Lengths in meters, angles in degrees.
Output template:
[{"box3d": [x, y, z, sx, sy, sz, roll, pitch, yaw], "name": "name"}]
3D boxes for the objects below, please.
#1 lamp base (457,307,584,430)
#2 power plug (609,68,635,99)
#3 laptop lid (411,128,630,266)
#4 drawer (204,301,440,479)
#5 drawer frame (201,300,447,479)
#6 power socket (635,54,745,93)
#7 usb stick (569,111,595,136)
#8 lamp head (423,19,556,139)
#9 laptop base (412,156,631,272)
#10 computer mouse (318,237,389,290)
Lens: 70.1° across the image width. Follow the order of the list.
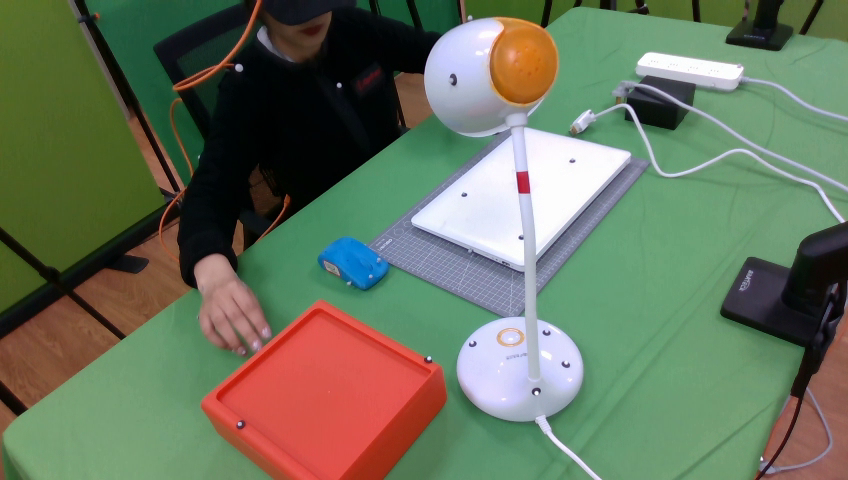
[{"box3d": [0.115, 0.108, 0.713, 0.161, 0.181, 0.178, -17, 42, -8], "name": "lamp base"}, {"box3d": [0.406, -0.322, 1.233, 0.035, 0.072, 0.052, 6, 35, -34], "name": "power plug"}, {"box3d": [0.172, -0.093, 1.049, 0.239, 0.013, 0.358, 23, 50, 36], "name": "laptop lid"}, {"box3d": [-0.119, 0.193, 0.734, 0.210, 0.073, 0.195, 23, 49, 32], "name": "drawer"}, {"box3d": [-0.117, 0.193, 0.733, 0.212, 0.083, 0.202, 23, 48, 32], "name": "drawer frame"}, {"box3d": [0.563, -0.358, 1.295, 0.225, 0.033, 0.072, 21, 49, 31], "name": "power socket"}, {"box3d": [0.309, -0.227, 1.189, 0.059, 0.021, 0.027, -44, 13, -19], "name": "usb stick"}, {"box3d": [0.068, -0.151, 0.563, 0.113, 0.113, 0.122, -21, 18, -13], "name": "lamp head"}, {"box3d": [0.176, -0.084, 1.055, 0.233, 0.023, 0.355, 21, 48, 36], "name": "laptop base"}, {"box3d": [-0.113, 0.034, 0.959, 0.116, 0.041, 0.063, 28, 50, 31], "name": "computer mouse"}]
